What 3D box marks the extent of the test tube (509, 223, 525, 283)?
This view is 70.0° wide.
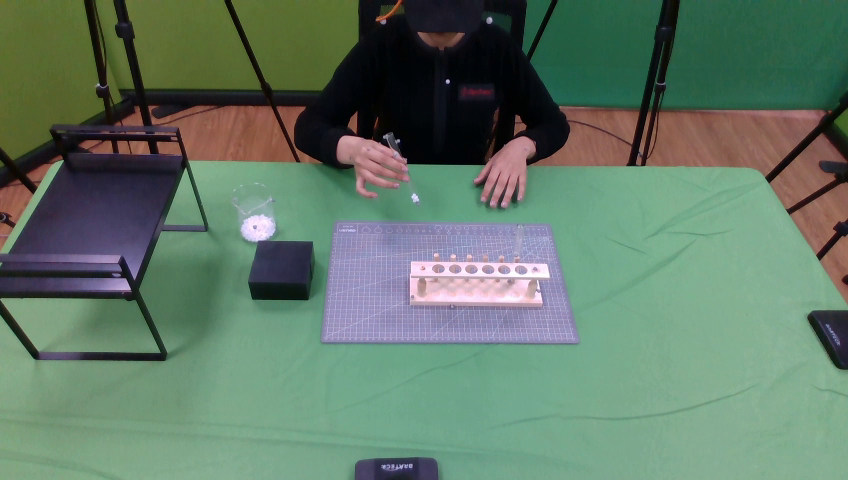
[{"bbox_3d":[0.165,0.024,1.077,0.017,0.151,0.017,0,47,1],"label":"test tube"}]

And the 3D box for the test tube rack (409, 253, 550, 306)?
[{"bbox_3d":[0.095,0.067,1.093,0.242,0.085,0.066,1,47,-3],"label":"test tube rack"}]

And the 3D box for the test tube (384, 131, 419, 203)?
[{"bbox_3d":[-0.041,-0.135,1.144,0.017,0.151,0.017,-18,27,10],"label":"test tube"}]

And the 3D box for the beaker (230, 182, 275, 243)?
[{"bbox_3d":[-0.328,-0.049,1.166,0.074,0.101,0.083,2,47,-2],"label":"beaker"}]
